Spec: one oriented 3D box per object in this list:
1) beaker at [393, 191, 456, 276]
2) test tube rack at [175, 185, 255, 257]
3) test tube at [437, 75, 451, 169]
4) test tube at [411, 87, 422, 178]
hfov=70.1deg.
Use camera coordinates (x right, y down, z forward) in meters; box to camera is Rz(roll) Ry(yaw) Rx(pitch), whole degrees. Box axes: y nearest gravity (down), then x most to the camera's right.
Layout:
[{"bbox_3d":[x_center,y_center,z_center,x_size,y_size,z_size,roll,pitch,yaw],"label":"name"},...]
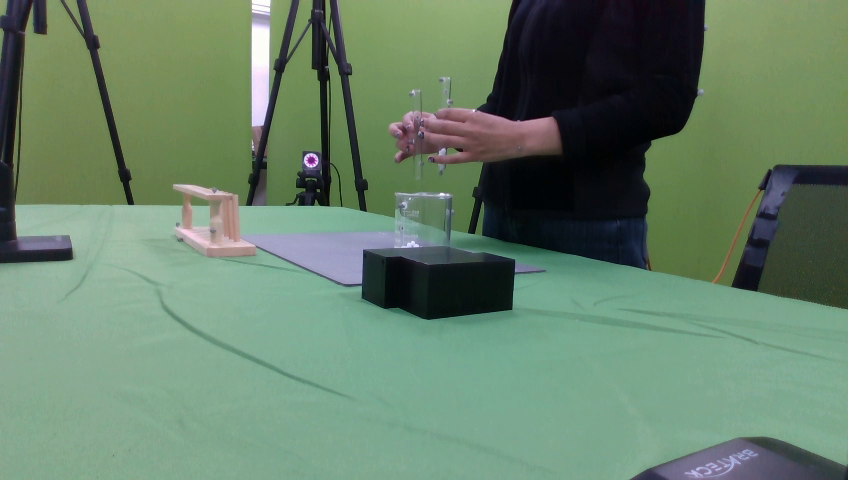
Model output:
[{"bbox_3d":[-0.003,-0.010,0.749,0.074,0.100,0.083,-3,8,-40],"label":"beaker"},{"bbox_3d":[-0.324,-0.035,0.922,0.067,0.085,0.241,-2,9,-31],"label":"test tube rack"},{"bbox_3d":[0.033,-0.191,0.982,0.017,0.150,0.017,3,6,0],"label":"test tube"},{"bbox_3d":[-0.012,-0.176,0.996,0.017,0.150,0.017,-1,20,1],"label":"test tube"}]
